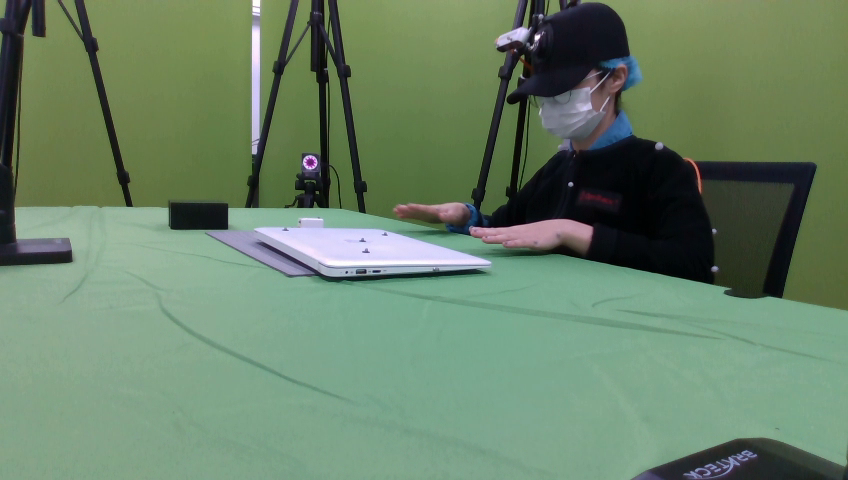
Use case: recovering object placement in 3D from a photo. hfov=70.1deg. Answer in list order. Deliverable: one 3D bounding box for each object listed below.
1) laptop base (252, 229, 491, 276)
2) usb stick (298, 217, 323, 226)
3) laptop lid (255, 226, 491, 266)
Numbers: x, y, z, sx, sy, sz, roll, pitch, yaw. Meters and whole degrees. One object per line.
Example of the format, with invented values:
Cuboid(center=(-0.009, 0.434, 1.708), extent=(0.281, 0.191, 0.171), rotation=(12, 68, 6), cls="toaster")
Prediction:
Cuboid(center=(-0.095, 0.015, 0.889), extent=(0.237, 0.023, 0.352), rotation=(2, 7, -30), cls="laptop base")
Cuboid(center=(-0.223, -0.030, 1.150), extent=(0.059, 0.027, 0.021), rotation=(-5, 11, -29), cls="usb stick")
Cuboid(center=(-0.092, 0.003, 0.889), extent=(0.243, 0.013, 0.355), rotation=(1, 8, -28), cls="laptop lid")
